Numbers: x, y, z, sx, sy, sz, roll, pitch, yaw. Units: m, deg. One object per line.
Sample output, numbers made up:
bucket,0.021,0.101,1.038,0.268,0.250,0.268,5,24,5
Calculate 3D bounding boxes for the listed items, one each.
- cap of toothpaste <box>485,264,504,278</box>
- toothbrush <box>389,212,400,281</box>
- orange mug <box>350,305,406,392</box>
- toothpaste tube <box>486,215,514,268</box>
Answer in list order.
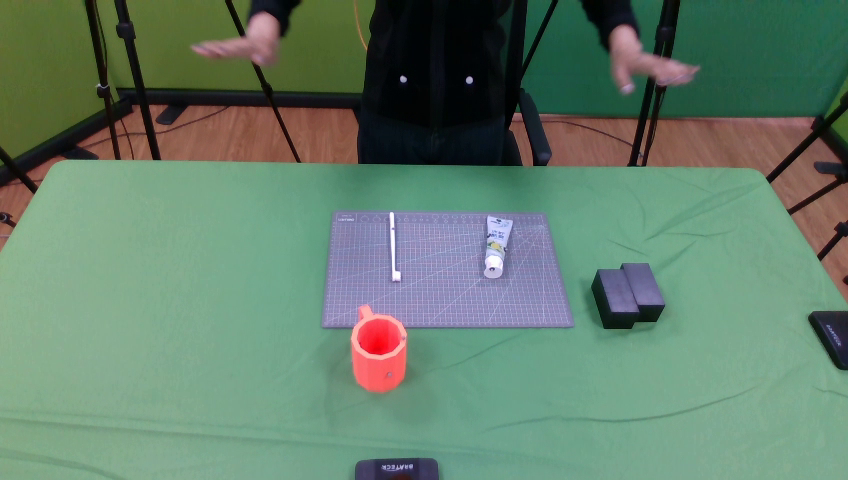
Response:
cap of toothpaste,0.132,0.057,1.137,0.037,0.037,0.011,1,48,-2
toothbrush,-0.059,0.010,1.186,0.017,0.014,0.180,1,46,-8
orange mug,-0.080,0.168,0.978,0.083,0.101,0.125,-16,54,-18
toothpaste tube,0.147,0.005,1.197,0.055,0.034,0.164,14,43,0
